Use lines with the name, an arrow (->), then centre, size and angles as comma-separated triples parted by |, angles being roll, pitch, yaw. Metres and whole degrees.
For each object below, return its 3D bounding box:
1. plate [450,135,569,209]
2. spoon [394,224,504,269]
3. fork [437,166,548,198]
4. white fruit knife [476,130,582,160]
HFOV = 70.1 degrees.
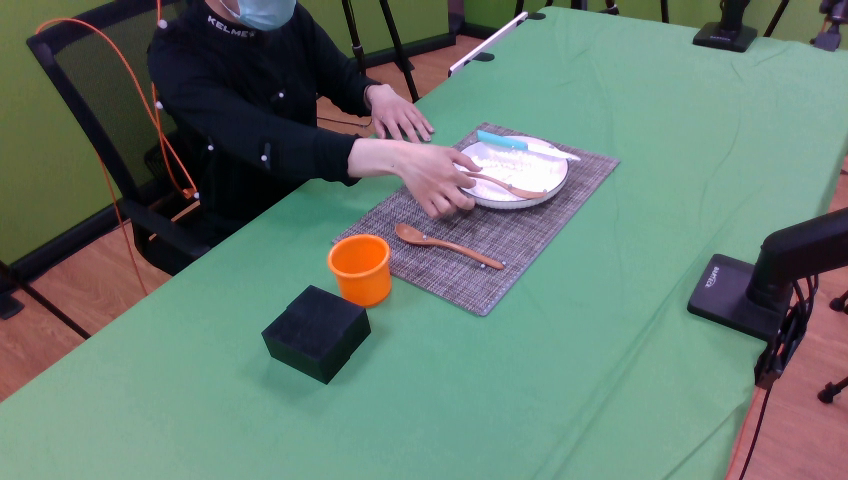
plate -> 0.149, -0.117, 1.065 | 0.209, 0.038, 0.208 | -3, 41, 3
spoon -> 0.037, 0.010, 0.945 | 0.192, 0.022, 0.042 | 18, 29, 26
fork -> 0.110, -0.099, 1.018 | 0.206, 0.019, 0.028 | 20, 38, 26
white fruit knife -> 0.184, -0.170, 1.089 | 0.206, 0.016, 0.027 | 18, 44, 25
